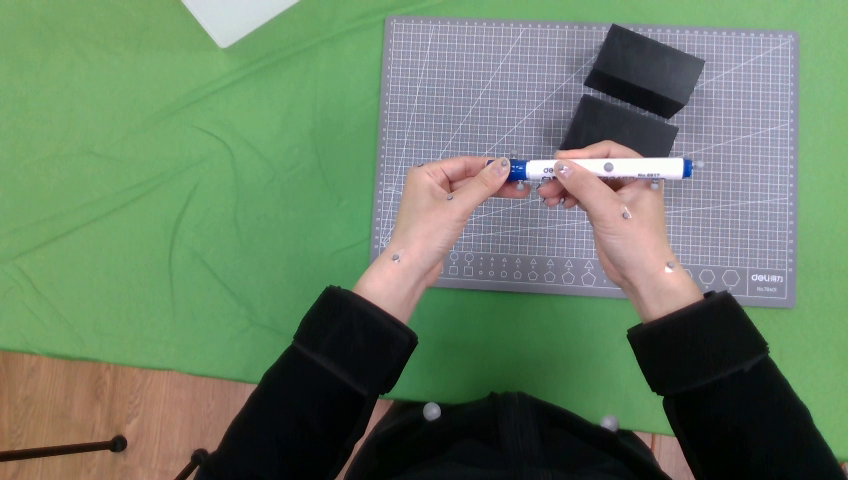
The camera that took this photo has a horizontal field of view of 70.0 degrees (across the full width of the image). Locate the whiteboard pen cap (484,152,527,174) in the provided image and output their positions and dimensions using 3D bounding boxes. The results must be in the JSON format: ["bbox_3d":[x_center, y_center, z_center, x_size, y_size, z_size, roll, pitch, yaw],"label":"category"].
[{"bbox_3d":[0.064,-0.059,0.470,0.033,0.018,0.018,2,86,15],"label":"whiteboard pen cap"}]

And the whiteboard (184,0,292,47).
[{"bbox_3d":[-0.207,-0.384,0.573,0.217,0.308,0.142,-32,65,1],"label":"whiteboard"}]

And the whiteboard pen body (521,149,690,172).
[{"bbox_3d":[0.122,-0.059,0.450,0.140,0.017,0.017,2,85,17],"label":"whiteboard pen body"}]
